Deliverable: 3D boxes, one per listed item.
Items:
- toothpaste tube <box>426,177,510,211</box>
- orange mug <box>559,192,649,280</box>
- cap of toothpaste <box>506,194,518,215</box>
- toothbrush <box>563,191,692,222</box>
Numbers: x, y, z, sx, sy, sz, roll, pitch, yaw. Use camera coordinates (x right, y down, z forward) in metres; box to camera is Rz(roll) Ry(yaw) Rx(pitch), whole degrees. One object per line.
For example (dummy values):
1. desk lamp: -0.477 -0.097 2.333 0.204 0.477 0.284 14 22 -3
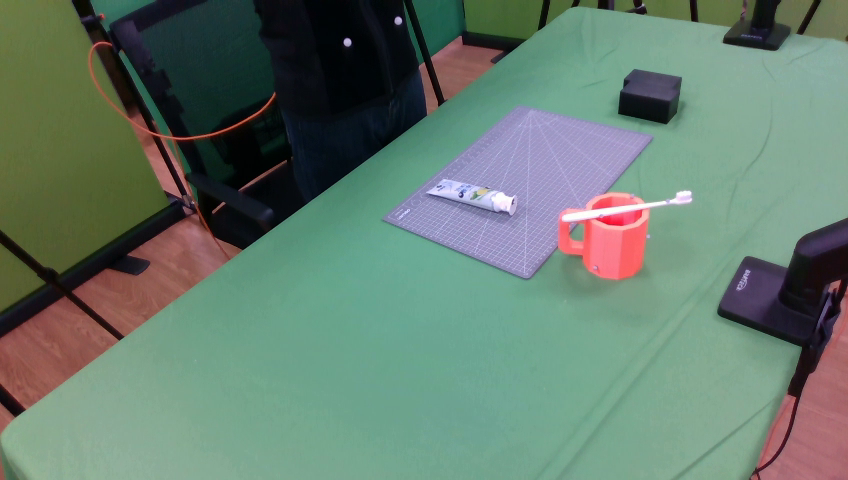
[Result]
1. toothpaste tube: 0.083 -0.081 1.054 0.164 0.034 0.055 18 40 34
2. orange mug: 0.261 -0.008 0.884 0.126 0.101 0.083 9 43 14
3. cap of toothpaste: 0.146 -0.060 1.008 0.011 0.037 0.037 14 46 22
4. toothbrush: 0.284 -0.045 0.842 0.182 0.017 0.014 -9 43 0
